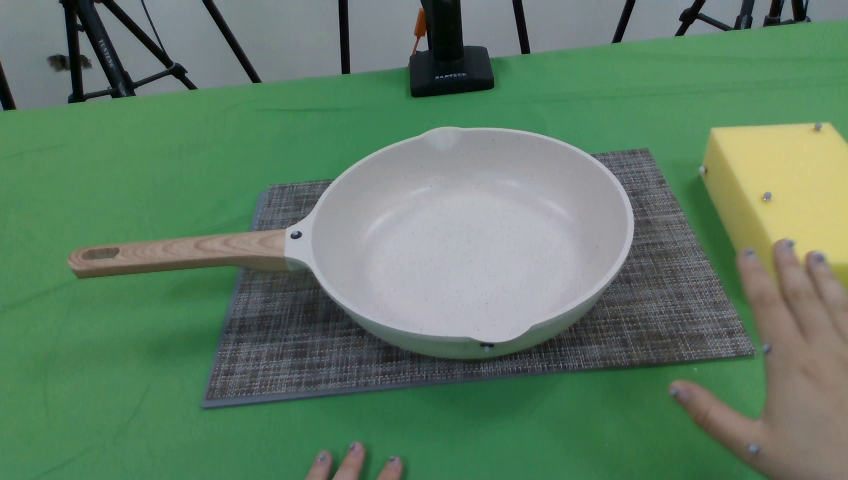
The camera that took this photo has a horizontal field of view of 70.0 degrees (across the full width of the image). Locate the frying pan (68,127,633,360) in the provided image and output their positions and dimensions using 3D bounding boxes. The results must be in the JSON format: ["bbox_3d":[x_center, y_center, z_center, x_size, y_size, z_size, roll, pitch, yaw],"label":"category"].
[{"bbox_3d":[-0.063,0.002,0.554,0.489,0.103,0.303,-3,40,-6],"label":"frying pan"}]

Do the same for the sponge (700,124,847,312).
[{"bbox_3d":[0.350,-0.028,0.564,0.118,0.061,0.205,-2,41,6],"label":"sponge"}]
